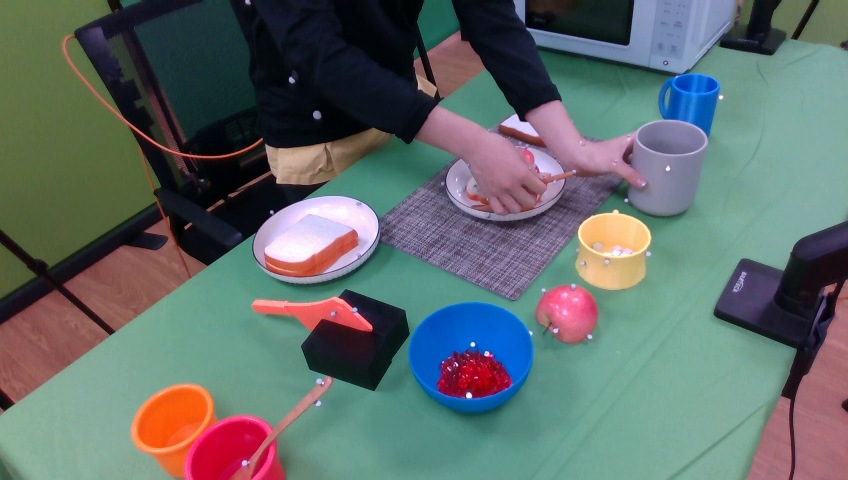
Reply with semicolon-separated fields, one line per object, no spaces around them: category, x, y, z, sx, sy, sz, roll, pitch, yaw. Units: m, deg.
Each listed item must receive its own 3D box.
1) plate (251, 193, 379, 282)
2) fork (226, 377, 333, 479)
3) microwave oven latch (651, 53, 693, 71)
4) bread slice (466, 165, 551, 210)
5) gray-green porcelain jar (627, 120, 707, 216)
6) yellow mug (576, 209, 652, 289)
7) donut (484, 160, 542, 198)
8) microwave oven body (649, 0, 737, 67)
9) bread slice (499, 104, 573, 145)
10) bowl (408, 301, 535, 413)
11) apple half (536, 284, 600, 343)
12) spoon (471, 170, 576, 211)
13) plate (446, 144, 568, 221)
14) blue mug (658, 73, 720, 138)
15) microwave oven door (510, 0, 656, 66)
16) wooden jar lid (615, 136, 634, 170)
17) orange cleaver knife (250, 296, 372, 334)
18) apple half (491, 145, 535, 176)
plate;-0.174;-0.001;0.984;0.209;0.038;0.208;-3;40;3
fork;-0.163;0.216;0.647;0.207;0.019;0.028;-49;42;16
microwave oven latch;0.532;-0.386;1.301;0.078;0.029;0.030;27;52;34
bread slice;0.142;-0.092;1.045;0.134;0.018;0.107;9;42;18
gray-green porcelain jar;0.383;-0.110;0.964;0.106;0.127;0.105;-4;41;4
yellow mug;0.279;0.004;0.893;0.099;0.064;0.130;5;42;14
donut;0.149;-0.109;1.015;0.099;0.048;0.098;-4;42;4
microwave oven body;0.475;-0.602;1.411;0.438;0.261;0.327;23;50;32
bread slice;0.231;-0.231;1.205;0.105;0.019;0.130;-37;47;-28
bowl;0.060;0.156;0.739;0.151;0.077;0.150;-4;40;4
apple half;0.196;0.091;0.815;0.075;0.053;0.080;-22;42;-20
spoon;0.152;-0.078;0.952;0.192;0.021;0.042;-23;-7;41
plate;0.142;-0.096;1.045;0.207;0.039;0.206;-4;40;4
blue mug;0.483;-0.250;1.127;0.082;0.106;0.115;-26;44;-19
microwave oven door;0.350;-0.539;1.348;0.353;0.245;0.039;24;50;31
wooden jar lid;0.398;-0.151;1.086;0.108;0.021;0.108;-2;43;2
orange cleaver knife;-0.158;0.103;0.828;0.210;0.078;0.012;-4;43;39
apple half;0.147;-0.138;0.993;0.081;0.033;0.081;0;37;0
